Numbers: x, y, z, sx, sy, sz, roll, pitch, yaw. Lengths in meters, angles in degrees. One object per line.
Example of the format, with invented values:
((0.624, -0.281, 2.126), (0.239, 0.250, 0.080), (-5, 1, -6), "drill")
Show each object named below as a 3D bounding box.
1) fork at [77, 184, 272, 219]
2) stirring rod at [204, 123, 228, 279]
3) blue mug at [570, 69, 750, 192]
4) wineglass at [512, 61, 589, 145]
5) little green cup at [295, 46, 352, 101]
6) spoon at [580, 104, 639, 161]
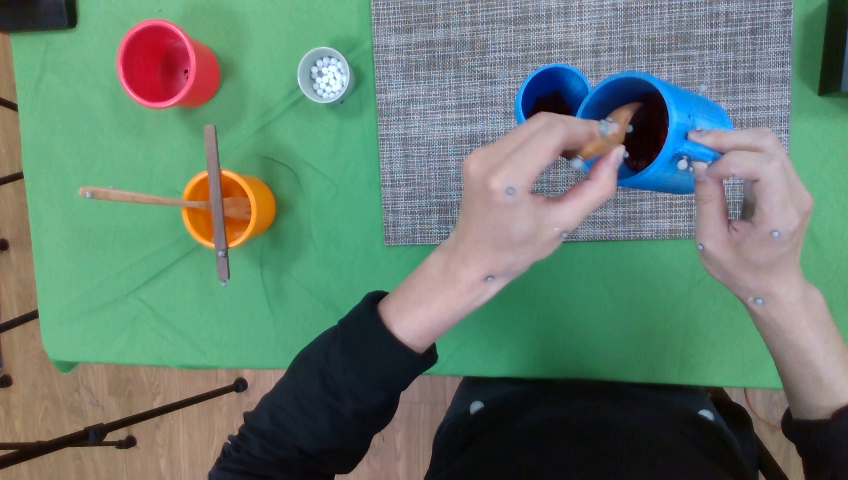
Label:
((-0.276, -0.045, 0.691), (0.209, 0.018, 0.028), (5, 108, -35), "fork")
((-0.234, -0.043, 0.683), (0.014, 0.006, 0.176), (-1, 97, 10), "stirring rod")
((0.189, -0.076, 0.464), (0.115, 0.106, 0.082), (33, 113, 42), "blue mug")
((0.124, -0.130, 0.599), (0.073, 0.172, 0.074), (1, 97, 10), "wineglass")
((-0.113, -0.190, 0.702), (0.061, 0.038, 0.061), (1, 98, 10), "little green cup")
((0.127, -0.072, 0.410), (0.041, 0.193, 0.021), (-36, 93, 26), "spoon")
